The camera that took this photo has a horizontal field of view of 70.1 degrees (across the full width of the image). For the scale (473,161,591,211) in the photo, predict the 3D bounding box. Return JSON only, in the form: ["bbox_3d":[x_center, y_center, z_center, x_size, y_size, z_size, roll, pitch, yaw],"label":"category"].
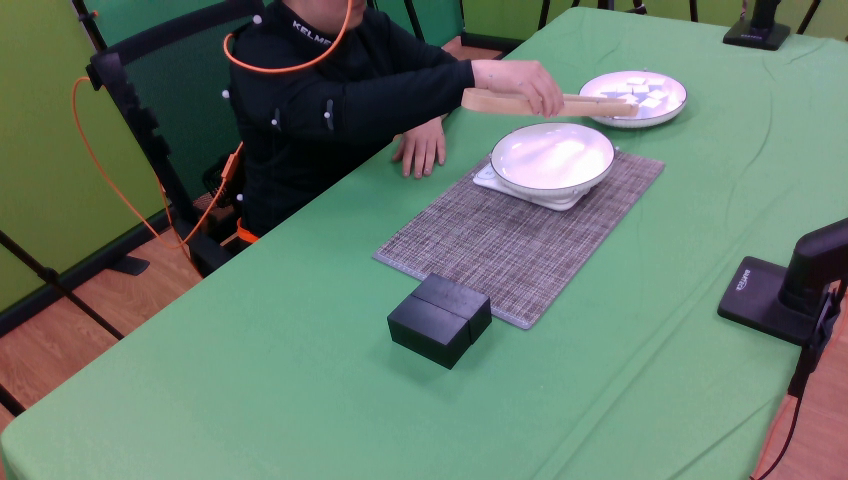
[{"bbox_3d":[0.202,-0.121,1.074,0.199,0.032,0.149,23,49,33],"label":"scale"}]

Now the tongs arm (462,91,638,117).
[{"bbox_3d":[0.234,-0.236,1.059,0.388,0.026,0.050,-8,32,-34],"label":"tongs arm"}]

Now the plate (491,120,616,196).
[{"bbox_3d":[0.221,-0.137,1.038,0.207,0.039,0.206,-6,41,5],"label":"plate"}]

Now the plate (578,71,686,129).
[{"bbox_3d":[0.416,-0.280,1.222,0.209,0.038,0.208,-5,41,5],"label":"plate"}]

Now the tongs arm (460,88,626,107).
[{"bbox_3d":[0.222,-0.247,1.077,0.390,0.028,0.028,-5,35,-30],"label":"tongs arm"}]
